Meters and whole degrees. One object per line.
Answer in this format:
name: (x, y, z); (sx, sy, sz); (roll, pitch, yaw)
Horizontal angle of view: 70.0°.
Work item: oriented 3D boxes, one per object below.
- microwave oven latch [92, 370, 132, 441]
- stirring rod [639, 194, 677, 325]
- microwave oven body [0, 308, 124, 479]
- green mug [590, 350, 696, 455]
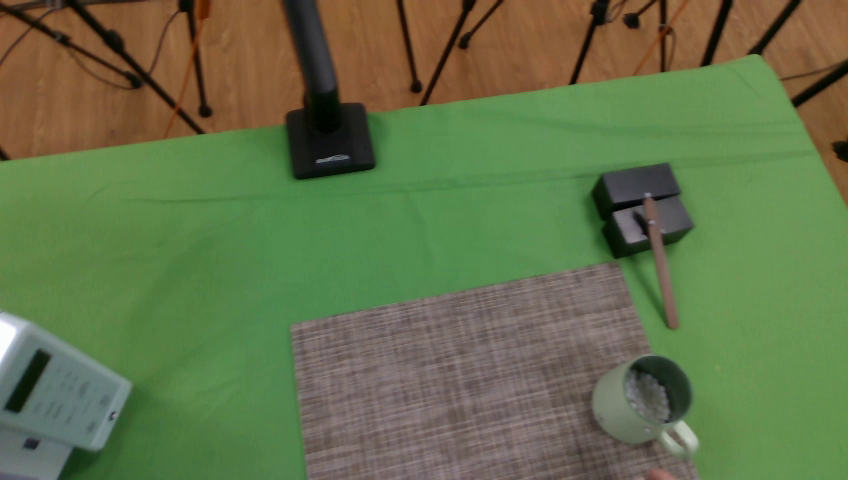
microwave oven latch: (-0.363, 0.185, 0.688); (0.030, 0.030, 0.078); (17, 66, 4)
stirring rod: (0.309, 0.026, 0.800); (0.014, 0.006, 0.176); (-13, 91, 2)
microwave oven body: (-0.549, 0.258, 0.536); (0.326, 0.262, 0.439); (16, 66, 3)
green mug: (0.260, 0.193, 0.702); (0.092, 0.105, 0.124); (-34, 71, -17)
